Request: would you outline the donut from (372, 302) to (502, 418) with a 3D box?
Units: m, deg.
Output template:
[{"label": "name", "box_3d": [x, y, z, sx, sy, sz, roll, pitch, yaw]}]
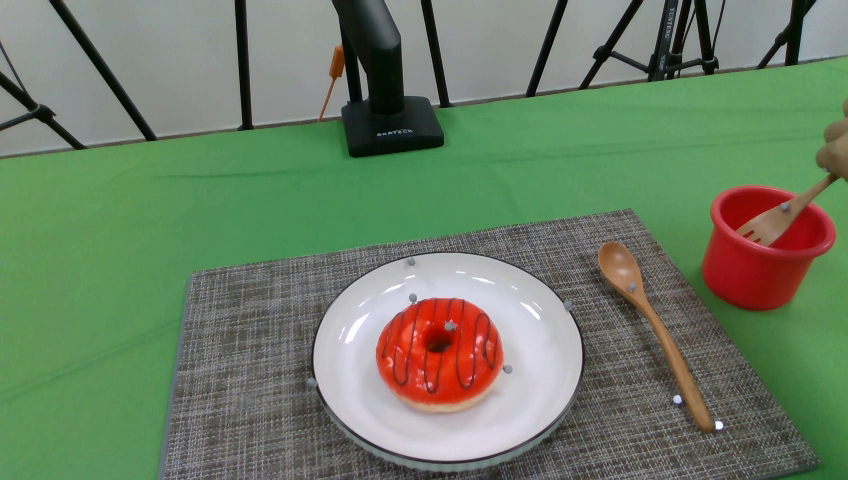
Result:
[{"label": "donut", "box_3d": [0.010, 0.090, 0.462, 0.099, 0.049, 0.098, -2, 42, 2]}]

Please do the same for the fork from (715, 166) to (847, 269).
[{"label": "fork", "box_3d": [0.334, -0.044, 0.497, 0.019, 0.207, 0.028, 20, 34, -50]}]

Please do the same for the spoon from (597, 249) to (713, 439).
[{"label": "spoon", "box_3d": [0.189, 0.076, 0.502, 0.042, 0.022, 0.191, 8, 37, -17]}]

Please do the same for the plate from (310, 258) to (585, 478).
[{"label": "plate", "box_3d": [0.018, 0.094, 0.474, 0.209, 0.038, 0.207, -1, 39, 1]}]
